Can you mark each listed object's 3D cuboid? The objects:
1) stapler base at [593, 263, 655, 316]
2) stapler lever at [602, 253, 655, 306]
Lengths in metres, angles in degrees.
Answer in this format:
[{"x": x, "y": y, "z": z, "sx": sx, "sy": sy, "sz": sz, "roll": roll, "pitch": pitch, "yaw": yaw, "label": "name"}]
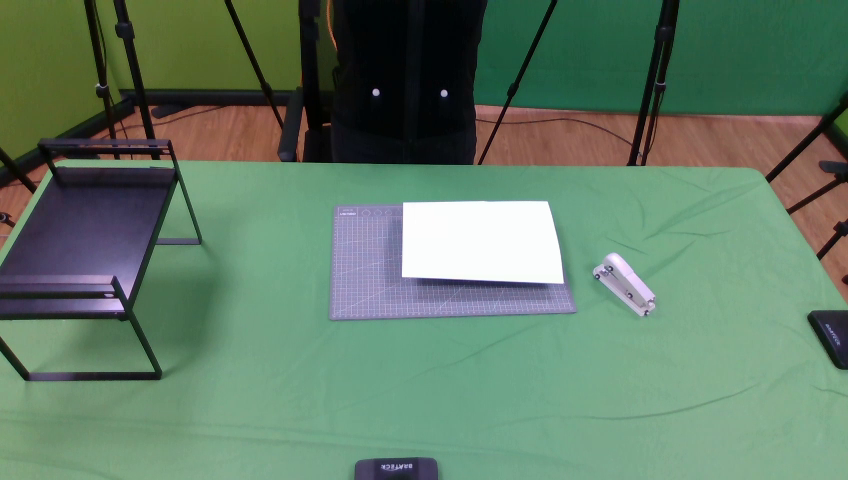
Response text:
[{"x": 0.377, "y": 0.086, "z": 1.141, "sx": 0.041, "sy": 0.024, "sz": 0.130, "roll": -27, "pitch": 55, "yaw": -23, "label": "stapler base"}, {"x": 0.379, "y": 0.070, "z": 1.123, "sx": 0.027, "sy": 0.040, "sz": 0.117, "roll": -27, "pitch": 54, "yaw": -23, "label": "stapler lever"}]
